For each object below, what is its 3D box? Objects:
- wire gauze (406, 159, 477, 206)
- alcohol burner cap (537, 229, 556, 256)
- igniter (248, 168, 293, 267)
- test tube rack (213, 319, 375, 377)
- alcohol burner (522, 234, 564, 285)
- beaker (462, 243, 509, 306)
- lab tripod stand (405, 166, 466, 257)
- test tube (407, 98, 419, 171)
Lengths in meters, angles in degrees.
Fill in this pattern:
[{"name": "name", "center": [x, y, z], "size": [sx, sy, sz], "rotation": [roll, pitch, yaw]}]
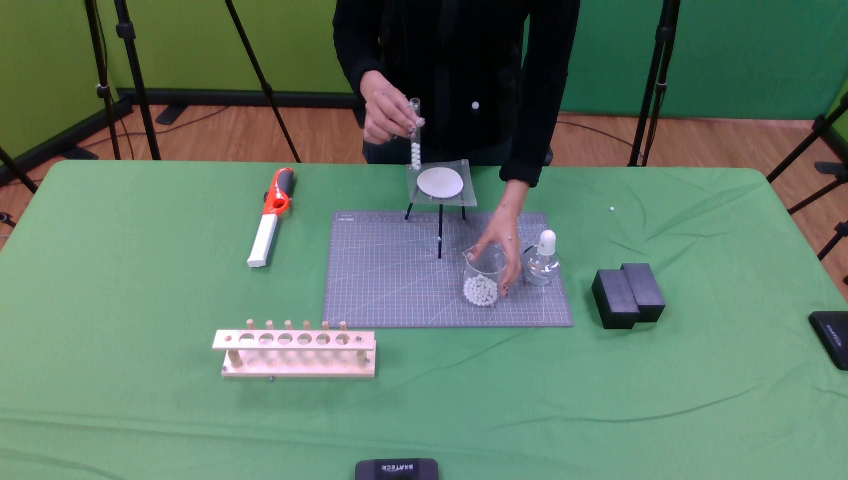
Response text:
[{"name": "wire gauze", "center": [0.031, -0.108, 1.129], "size": [0.125, 0.011, 0.120], "rotation": [-1, 48, -5]}, {"name": "alcohol burner cap", "center": [0.223, 0.002, 1.095], "size": [0.034, 0.048, 0.033], "rotation": [-1, 44, 1]}, {"name": "igniter", "center": [-0.307, -0.055, 1.225], "size": [0.057, 0.025, 0.275], "rotation": [-3, 46, 6]}, {"name": "test tube rack", "center": [-0.202, 0.170, 0.977], "size": [0.242, 0.085, 0.066], "rotation": [1, 46, -3]}, {"name": "alcohol burner", "center": [0.223, 0.027, 1.120], "size": [0.078, 0.119, 0.077], "rotation": [2, 48, -2]}, {"name": "beaker", "center": [0.105, 0.064, 1.086], "size": [0.084, 0.101, 0.073], "rotation": [18, 47, 14]}, {"name": "lab tripod stand", "center": [0.030, -0.063, 1.180], "size": [0.148, 0.132, 0.147], "rotation": [3, 47, -3]}, {"name": "test tube", "center": [-0.017, -0.168, 0.987], "size": [0.017, 0.151, 0.017], "rotation": [0, 52, 1]}]
